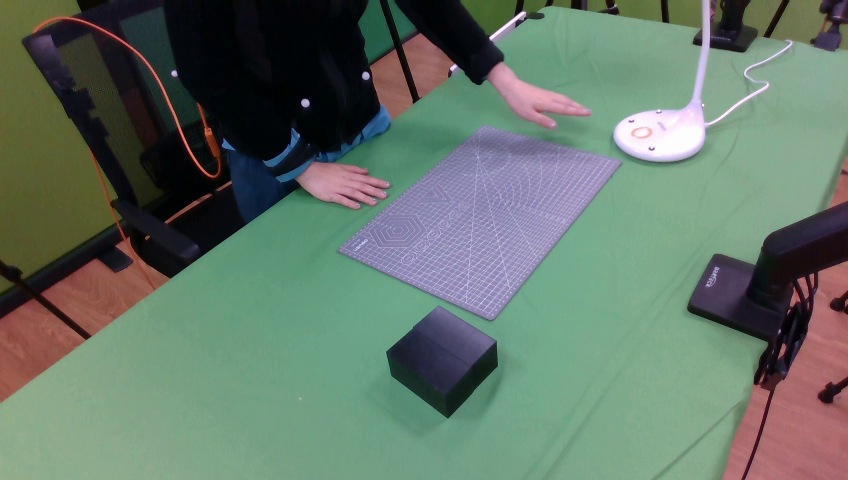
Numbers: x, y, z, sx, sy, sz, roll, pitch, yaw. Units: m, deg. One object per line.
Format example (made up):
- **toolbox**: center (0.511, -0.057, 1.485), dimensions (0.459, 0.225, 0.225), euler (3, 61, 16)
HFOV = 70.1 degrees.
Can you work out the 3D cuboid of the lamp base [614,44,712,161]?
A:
- **lamp base**: center (0.441, -0.257, 1.081), dimensions (0.180, 0.181, 0.159), euler (-15, 41, -12)
